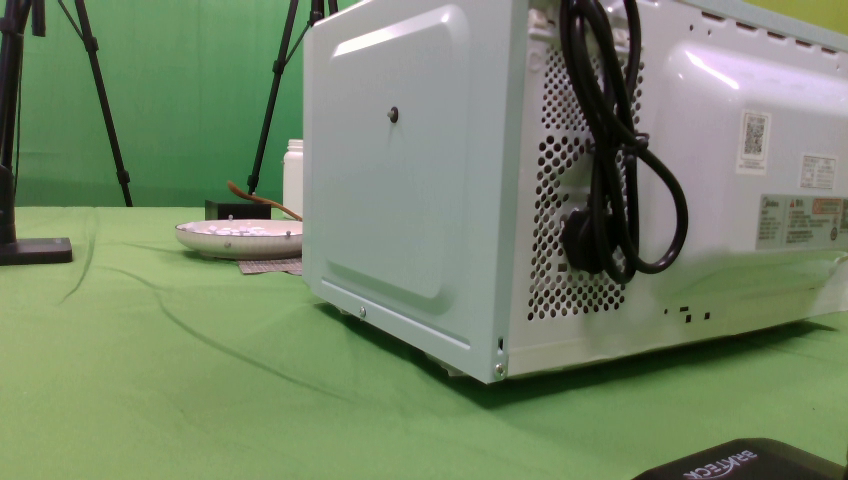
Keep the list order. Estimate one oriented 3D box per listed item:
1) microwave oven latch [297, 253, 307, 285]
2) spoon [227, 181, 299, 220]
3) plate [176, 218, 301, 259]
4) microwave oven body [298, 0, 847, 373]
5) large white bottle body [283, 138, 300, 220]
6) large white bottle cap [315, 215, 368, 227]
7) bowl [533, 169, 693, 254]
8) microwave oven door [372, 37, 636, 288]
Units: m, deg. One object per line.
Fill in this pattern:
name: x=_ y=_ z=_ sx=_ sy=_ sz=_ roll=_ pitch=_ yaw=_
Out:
microwave oven latch: x=-0.082 y=0.027 z=0.582 sx=0.079 sy=0.029 sz=0.030 roll=-1 pitch=7 yaw=-33
spoon: x=-0.315 y=-0.074 z=1.234 sx=0.195 sy=0.021 sz=0.041 roll=24 pitch=-9 yaw=-37
plate: x=-0.248 y=-0.003 z=0.877 sx=0.209 sy=0.038 sz=0.209 roll=1 pitch=8 yaw=0
microwave oven body: x=0.151 y=-0.055 z=0.542 sx=0.444 sy=0.260 sz=0.324 roll=-1 pitch=7 yaw=-33
large white bottle body: x=-0.265 y=-0.143 z=1.423 sx=0.131 sy=0.184 sz=0.130 roll=2 pitch=7 yaw=0
large white bottle cap: x=-0.178 y=-0.041 z=1.308 sx=0.115 sy=0.018 sz=0.115 roll=2 pitch=6 yaw=0
bowl: x=0.181 y=-0.030 z=0.596 sx=0.151 sy=0.077 sz=0.151 roll=1 pitch=7 yaw=0
microwave oven door: x=0.110 y=-0.080 z=0.686 sx=0.358 sy=0.243 sz=0.039 roll=-2 pitch=9 yaw=-33
